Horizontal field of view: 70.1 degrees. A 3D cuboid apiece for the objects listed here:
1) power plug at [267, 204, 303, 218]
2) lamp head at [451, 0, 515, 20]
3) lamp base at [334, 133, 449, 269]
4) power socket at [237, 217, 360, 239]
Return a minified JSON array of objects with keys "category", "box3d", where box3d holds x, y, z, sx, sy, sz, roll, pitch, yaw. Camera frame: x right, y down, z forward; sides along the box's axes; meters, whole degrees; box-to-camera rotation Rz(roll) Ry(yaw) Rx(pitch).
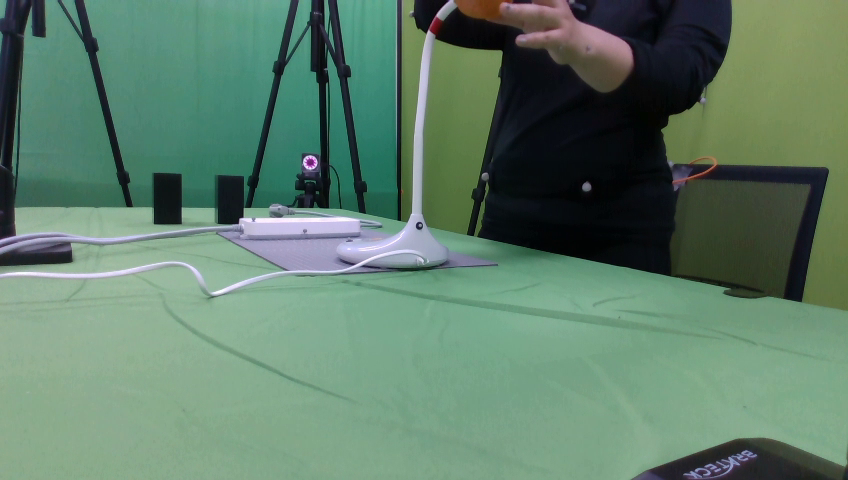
[{"category":"power plug","box3d":[-0.327,-0.059,1.404,0.073,0.035,0.052,22,-15,-26]},{"category":"lamp head","box3d":[0.067,-0.320,0.700,0.112,0.122,0.112,6,-2,1]},{"category":"lamp base","box3d":[-0.033,-0.057,0.831,0.161,0.180,0.178,-2,12,-36]},{"category":"power socket","box3d":[-0.220,-0.023,1.080,0.228,0.032,0.072,-2,8,-33]}]
